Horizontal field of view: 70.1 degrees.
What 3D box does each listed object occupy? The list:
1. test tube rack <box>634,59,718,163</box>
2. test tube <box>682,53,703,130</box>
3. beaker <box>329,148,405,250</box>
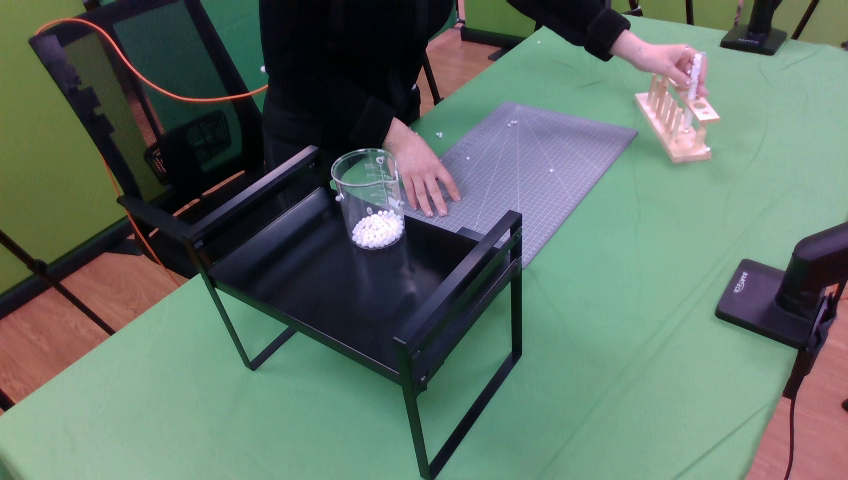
[{"bbox_3d":[0.471,-0.250,1.148,0.067,0.085,0.241,-6,40,3],"label":"test tube rack"},{"bbox_3d":[0.479,-0.262,1.081,0.017,0.151,0.017,-6,43,6],"label":"test tube"},{"bbox_3d":[-0.059,-0.044,0.699,0.083,0.101,0.074,19,47,27],"label":"beaker"}]
